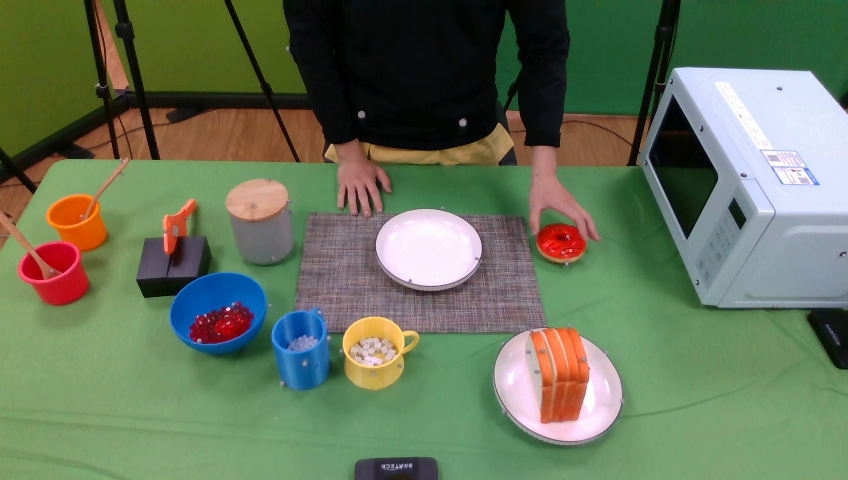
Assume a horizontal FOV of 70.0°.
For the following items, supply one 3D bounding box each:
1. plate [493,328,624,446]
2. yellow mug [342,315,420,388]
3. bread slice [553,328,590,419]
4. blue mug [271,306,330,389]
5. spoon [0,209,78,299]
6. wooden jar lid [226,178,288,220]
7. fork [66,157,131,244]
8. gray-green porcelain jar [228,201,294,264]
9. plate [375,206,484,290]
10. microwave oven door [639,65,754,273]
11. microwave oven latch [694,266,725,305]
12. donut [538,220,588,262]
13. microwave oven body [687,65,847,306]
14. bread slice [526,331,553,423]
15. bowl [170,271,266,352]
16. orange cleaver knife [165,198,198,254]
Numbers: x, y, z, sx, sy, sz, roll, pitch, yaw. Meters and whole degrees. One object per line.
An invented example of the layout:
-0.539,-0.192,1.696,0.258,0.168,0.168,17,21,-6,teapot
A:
0.213,0.236,0.974,0.208,0.039,0.206,2,46,-2,plate
-0.068,0.177,0.991,0.131,0.064,0.099,-15,50,-19,yellow mug
0.226,0.201,0.932,0.018,0.135,0.106,-4,51,-4,bread slice
-0.188,0.163,0.969,0.082,0.106,0.116,15,47,10,blue mug
-0.668,0.021,1.040,0.041,0.021,0.194,-41,105,-29,spoon
-0.296,-0.070,1.081,0.108,0.021,0.107,1,45,-1,wooden jar lid
-0.608,-0.074,1.132,0.207,0.019,0.028,-52,48,10,fork
-0.299,-0.027,1.126,0.106,0.127,0.105,2,46,-2,gray-green porcelain jar
0.009,0.019,1.161,0.209,0.038,0.208,2,47,-2,plate
0.522,-0.147,1.193,0.039,0.245,0.353,0,47,-3,microwave oven door
0.523,0.082,1.115,0.030,0.029,0.078,3,46,0,microwave oven latch
0.273,0.000,1.198,0.099,0.048,0.098,1,46,0,donut
0.669,-0.111,1.176,0.326,0.261,0.439,0,46,-3,microwave oven body
0.176,0.202,0.929,0.019,0.132,0.104,-9,45,-1,bread slice
-0.333,0.132,1.006,0.151,0.077,0.150,2,46,-2,bowl
-0.458,-0.031,1.149,0.012,0.077,0.210,-2,17,-6,orange cleaver knife
